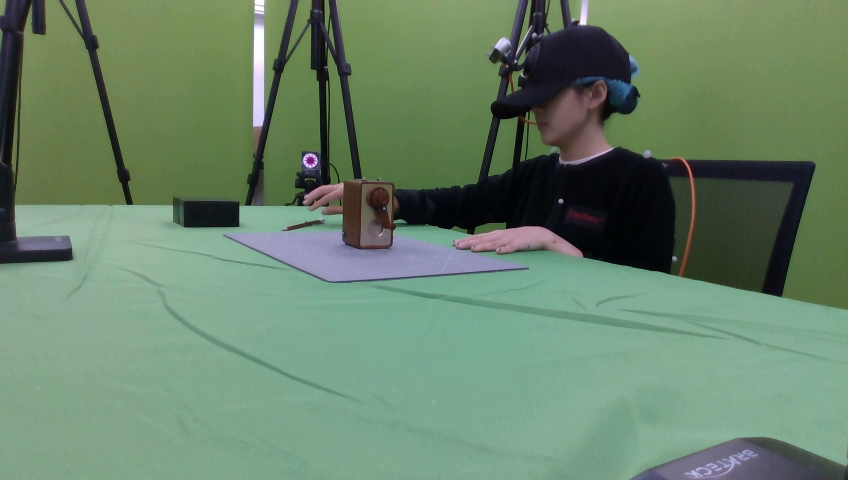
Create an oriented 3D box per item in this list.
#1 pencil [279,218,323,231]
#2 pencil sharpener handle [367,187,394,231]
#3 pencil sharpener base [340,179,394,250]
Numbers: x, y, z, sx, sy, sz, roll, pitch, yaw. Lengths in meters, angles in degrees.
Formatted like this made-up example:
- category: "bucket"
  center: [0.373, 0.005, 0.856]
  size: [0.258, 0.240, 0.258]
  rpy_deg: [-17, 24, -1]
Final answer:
- category: "pencil"
  center: [-0.246, -0.031, 1.222]
  size: [0.012, 0.012, 0.194]
  rpy_deg: [5, 9, 14]
- category: "pencil sharpener handle"
  center: [-0.061, -0.046, 0.916]
  size: [0.036, 0.068, 0.030]
  rpy_deg: [-19, 17, -26]
- category: "pencil sharpener base"
  center: [-0.091, -0.041, 0.959]
  size: [0.061, 0.107, 0.076]
  rpy_deg: [-1, 9, -30]
